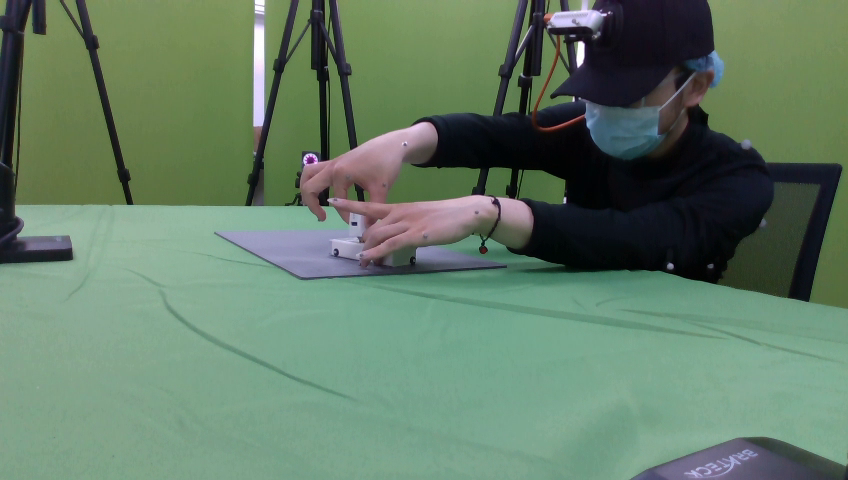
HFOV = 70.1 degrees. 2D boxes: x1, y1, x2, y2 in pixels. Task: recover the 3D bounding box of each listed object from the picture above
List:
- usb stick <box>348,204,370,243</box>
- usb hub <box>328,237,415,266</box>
[{"bbox_3d":[-0.088,-0.020,0.828,0.021,0.059,0.027,4,8,34],"label":"usb stick"},{"bbox_3d":[-0.075,0.015,0.837,0.124,0.025,0.050,7,8,38],"label":"usb hub"}]
